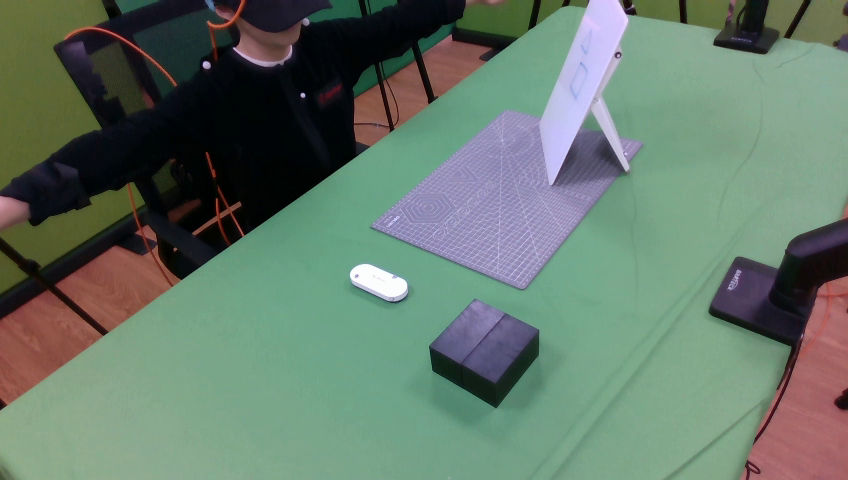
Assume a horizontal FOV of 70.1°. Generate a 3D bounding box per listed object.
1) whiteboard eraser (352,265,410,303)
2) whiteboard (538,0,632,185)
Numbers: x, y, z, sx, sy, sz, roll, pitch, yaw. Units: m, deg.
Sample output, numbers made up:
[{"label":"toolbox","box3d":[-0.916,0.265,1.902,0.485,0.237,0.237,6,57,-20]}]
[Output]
[{"label":"whiteboard eraser","box3d":[-0.066,0.065,0.914,0.100,0.019,0.041,21,49,31]},{"label":"whiteboard","box3d":[0.327,-0.259,1.055,0.144,0.305,0.216,13,40,-6]}]
